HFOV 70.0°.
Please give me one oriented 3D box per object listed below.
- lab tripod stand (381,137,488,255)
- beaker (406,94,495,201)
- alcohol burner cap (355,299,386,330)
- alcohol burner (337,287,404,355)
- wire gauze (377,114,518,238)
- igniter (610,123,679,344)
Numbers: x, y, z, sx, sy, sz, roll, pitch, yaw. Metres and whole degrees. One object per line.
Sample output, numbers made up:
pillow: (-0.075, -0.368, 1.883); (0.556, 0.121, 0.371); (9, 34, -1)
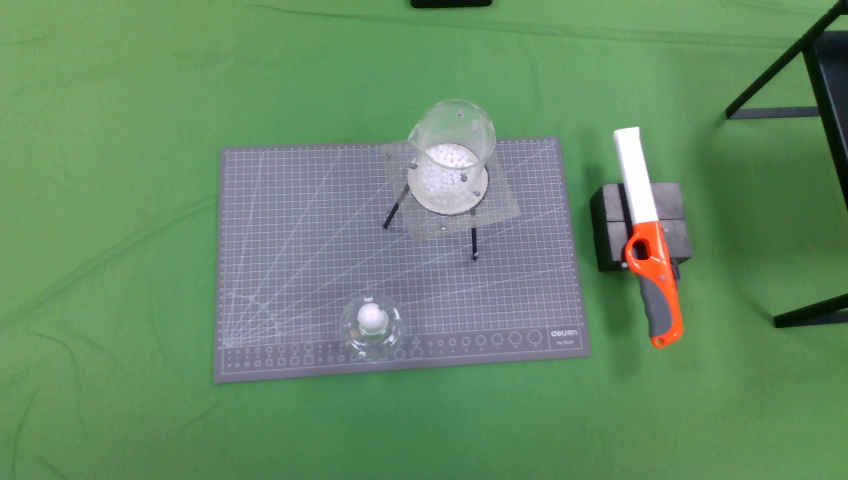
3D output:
lab tripod stand: (0.020, -0.057, 0.717); (0.148, 0.132, 0.147); (1, 72, -3)
beaker: (0.022, -0.087, 0.607); (0.084, 0.101, 0.073); (-5, 72, -6)
alcohol burner cap: (-0.059, 0.077, 0.644); (0.034, 0.048, 0.033); (1, 75, -2)
alcohol burner: (-0.060, 0.088, 0.678); (0.078, 0.119, 0.077); (1, 75, -4)
wire gauze: (0.025, -0.070, 0.653); (0.125, 0.011, 0.121); (-15, 76, -11)
igniter: (0.266, -0.013, 0.735); (0.057, 0.025, 0.275); (-7, 74, 5)
